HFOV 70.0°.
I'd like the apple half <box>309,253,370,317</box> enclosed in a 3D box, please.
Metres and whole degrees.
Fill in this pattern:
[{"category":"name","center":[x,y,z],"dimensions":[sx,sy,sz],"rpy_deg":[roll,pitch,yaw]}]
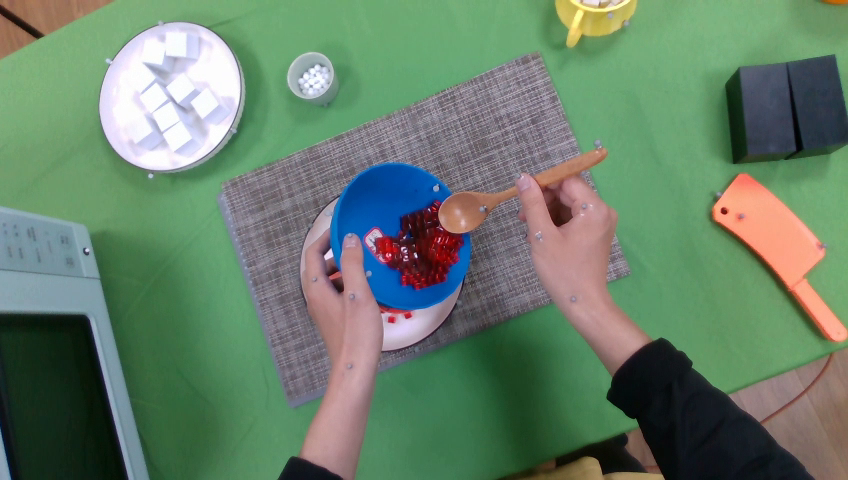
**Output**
[{"category":"apple half","center":[-0.108,0.054,0.720],"dimensions":[0.074,0.053,0.080],"rpy_deg":[-27,76,46]}]

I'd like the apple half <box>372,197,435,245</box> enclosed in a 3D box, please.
[{"category":"apple half","center":[-0.024,-0.030,0.720],"dimensions":[0.081,0.033,0.080],"rpy_deg":[-2,43,2]}]

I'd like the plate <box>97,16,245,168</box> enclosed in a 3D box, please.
[{"category":"plate","center":[-0.336,-0.196,0.819],"dimensions":[0.207,0.039,0.207],"rpy_deg":[-1,84,9]}]

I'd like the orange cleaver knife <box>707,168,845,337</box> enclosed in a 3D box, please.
[{"category":"orange cleaver knife","center":[0.409,0.011,0.685],"dimensions":[0.077,0.012,0.210],"rpy_deg":[-36,78,-2]}]

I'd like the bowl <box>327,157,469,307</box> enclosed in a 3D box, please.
[{"category":"bowl","center":[-0.037,-0.001,0.620],"dimensions":[0.152,0.076,0.150],"rpy_deg":[9,73,-28]}]

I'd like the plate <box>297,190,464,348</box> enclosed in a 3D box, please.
[{"category":"plate","center":[-0.053,0.027,0.746],"dimensions":[0.209,0.038,0.208],"rpy_deg":[-1,84,9]}]

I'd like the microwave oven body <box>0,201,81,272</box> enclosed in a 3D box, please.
[{"category":"microwave oven body","center":[-0.560,0.211,0.696],"dimensions":[0.326,0.261,0.440],"rpy_deg":[-20,82,6]}]

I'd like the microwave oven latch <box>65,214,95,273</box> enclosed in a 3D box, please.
[{"category":"microwave oven latch","center":[-0.462,0.007,0.799],"dimensions":[0.030,0.029,0.079],"rpy_deg":[-17,82,6]}]

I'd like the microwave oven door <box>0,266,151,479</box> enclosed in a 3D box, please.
[{"category":"microwave oven door","center":[-0.411,0.201,0.667],"dimensions":[0.039,0.245,0.354],"rpy_deg":[-20,81,7]}]

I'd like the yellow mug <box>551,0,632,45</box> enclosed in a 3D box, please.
[{"category":"yellow mug","center":[0.198,-0.296,0.728],"dimensions":[0.099,0.064,0.131],"rpy_deg":[26,90,11]}]

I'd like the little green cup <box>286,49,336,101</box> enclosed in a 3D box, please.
[{"category":"little green cup","center":[-0.145,-0.212,0.789],"dimensions":[0.061,0.039,0.061],"rpy_deg":[-1,84,10]}]

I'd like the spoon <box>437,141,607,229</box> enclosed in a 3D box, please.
[{"category":"spoon","center":[0.082,-0.049,0.555],"dimensions":[0.193,0.021,0.041],"rpy_deg":[-20,97,48]}]

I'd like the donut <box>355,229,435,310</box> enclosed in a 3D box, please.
[{"category":"donut","center":[-0.035,0.036,0.731],"dimensions":[0.099,0.048,0.099],"rpy_deg":[0,89,10]}]
